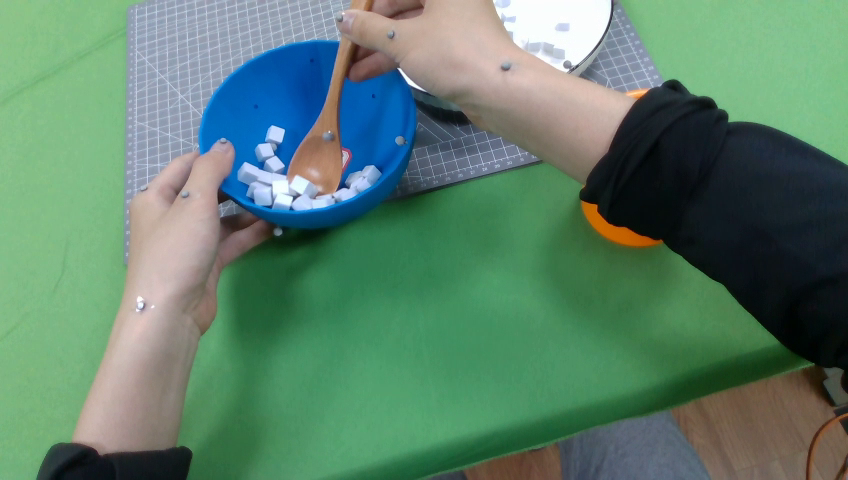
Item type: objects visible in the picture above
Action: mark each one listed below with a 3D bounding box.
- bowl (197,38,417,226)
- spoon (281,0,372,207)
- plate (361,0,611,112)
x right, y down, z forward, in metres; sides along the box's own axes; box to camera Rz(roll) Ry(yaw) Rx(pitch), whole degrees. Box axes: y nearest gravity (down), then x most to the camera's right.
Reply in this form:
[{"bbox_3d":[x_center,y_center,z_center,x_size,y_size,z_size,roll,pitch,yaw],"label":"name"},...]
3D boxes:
[{"bbox_3d":[-0.078,-0.066,0.447,0.151,0.077,0.150,-1,63,2],"label":"bowl"},{"bbox_3d":[-0.056,-0.109,0.404,0.041,0.021,0.194,28,114,14],"label":"spoon"},{"bbox_3d":[0.050,-0.190,0.520,0.209,0.038,0.207,-3,63,6],"label":"plate"}]
